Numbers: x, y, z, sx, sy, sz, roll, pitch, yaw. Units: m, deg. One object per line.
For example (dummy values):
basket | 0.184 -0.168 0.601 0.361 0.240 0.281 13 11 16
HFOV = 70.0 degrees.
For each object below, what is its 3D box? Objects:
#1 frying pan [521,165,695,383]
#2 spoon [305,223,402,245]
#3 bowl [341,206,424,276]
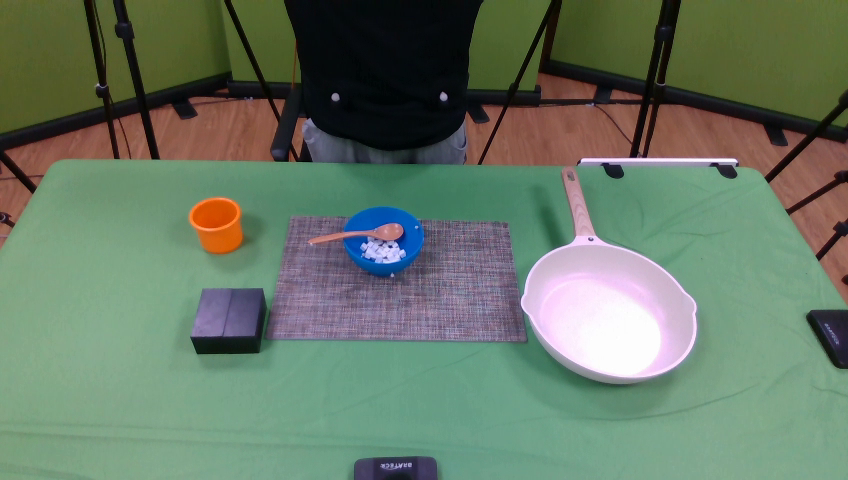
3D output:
frying pan | 0.312 0.044 1.123 0.307 0.103 0.484 1 55 -5
spoon | -0.126 -0.010 1.109 0.194 0.022 0.041 -5 50 -35
bowl | -0.079 0.014 1.133 0.151 0.077 0.150 2 46 -2
